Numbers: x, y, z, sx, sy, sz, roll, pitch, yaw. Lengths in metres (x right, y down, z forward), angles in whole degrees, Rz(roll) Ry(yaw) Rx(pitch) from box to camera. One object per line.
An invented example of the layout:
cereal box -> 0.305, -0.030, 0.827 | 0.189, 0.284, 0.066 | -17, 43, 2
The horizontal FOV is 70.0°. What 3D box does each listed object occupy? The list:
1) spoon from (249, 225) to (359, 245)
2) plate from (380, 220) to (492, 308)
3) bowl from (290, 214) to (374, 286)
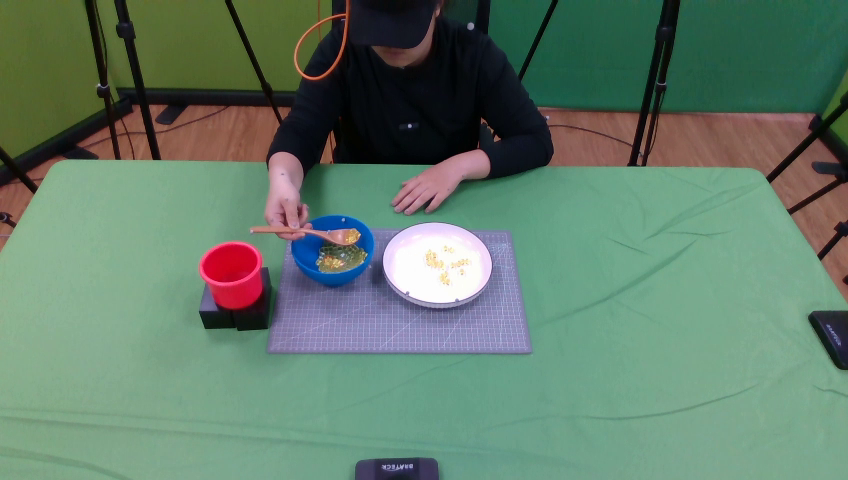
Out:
spoon -> -0.209, -0.014, 1.069 | 0.194, 0.022, 0.041 | 7, 45, -25
plate -> 0.022, 0.048, 1.138 | 0.208, 0.039, 0.206 | 2, 46, -2
bowl -> -0.166, 0.031, 1.113 | 0.151, 0.077, 0.150 | 2, 46, -2
